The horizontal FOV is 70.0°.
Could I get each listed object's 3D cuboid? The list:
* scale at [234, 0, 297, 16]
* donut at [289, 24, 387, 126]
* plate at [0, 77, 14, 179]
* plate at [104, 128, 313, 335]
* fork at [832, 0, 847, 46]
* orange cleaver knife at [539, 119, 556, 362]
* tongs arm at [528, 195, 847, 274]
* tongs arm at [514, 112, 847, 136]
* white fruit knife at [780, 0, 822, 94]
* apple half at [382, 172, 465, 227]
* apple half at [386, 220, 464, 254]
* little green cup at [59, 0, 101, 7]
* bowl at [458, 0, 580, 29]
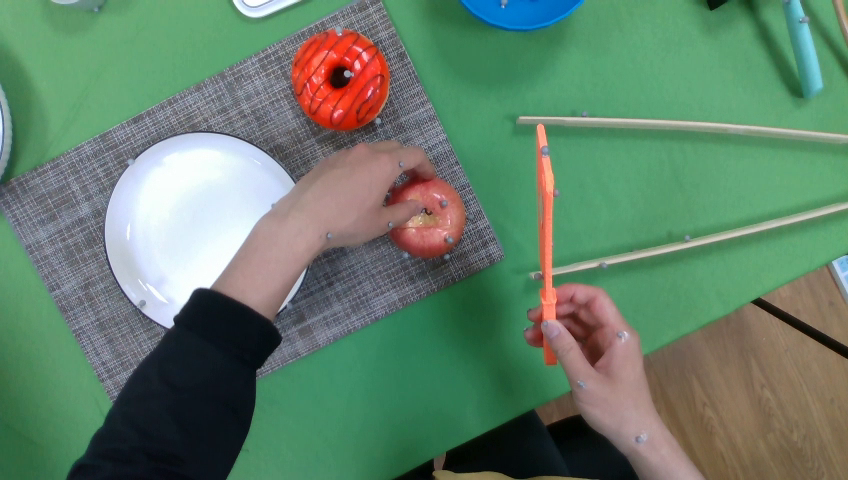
[{"bbox_3d":[-0.153,-0.340,0.592,0.148,0.031,0.201,-22,96,2],"label":"scale"},{"bbox_3d":[-0.085,-0.163,0.601,0.099,0.048,0.099,0,97,1],"label":"donut"},{"bbox_3d":[-0.513,-0.118,0.610,0.208,0.039,0.208,0,96,0],"label":"plate"},{"bbox_3d":[-0.215,-0.009,0.619,0.209,0.038,0.209,0,96,0],"label":"plate"},{"bbox_3d":[0.411,-0.224,0.591,0.028,0.018,0.209,-36,110,0],"label":"fork"},{"bbox_3d":[0.100,0.008,0.497,0.012,0.076,0.213,-3,125,8],"label":"orange cleaver knife"},{"bbox_3d":[0.294,-0.026,0.625,0.385,0.026,0.051,-11,92,0],"label":"tongs arm"},{"bbox_3d":[0.286,-0.111,0.620,0.388,0.028,0.028,4,88,-1],"label":"tongs arm"},{"bbox_3d":[0.349,-0.235,0.582,0.016,0.027,0.209,-29,110,3],"label":"white fruit knife"},{"bbox_3d":[-0.001,-0.040,0.600,0.081,0.074,0.053,-4,90,4],"label":"apple half"},{"bbox_3d":[0.003,-0.003,0.602,0.081,0.081,0.033,-3,91,0],"label":"apple half"},{"bbox_3d":[-0.345,-0.261,0.596,0.061,0.038,0.061,0,95,0],"label":"little green cup"},{"bbox_3d":[0.087,-0.271,0.578,0.151,0.076,0.151,0,96,0],"label":"bowl"}]
